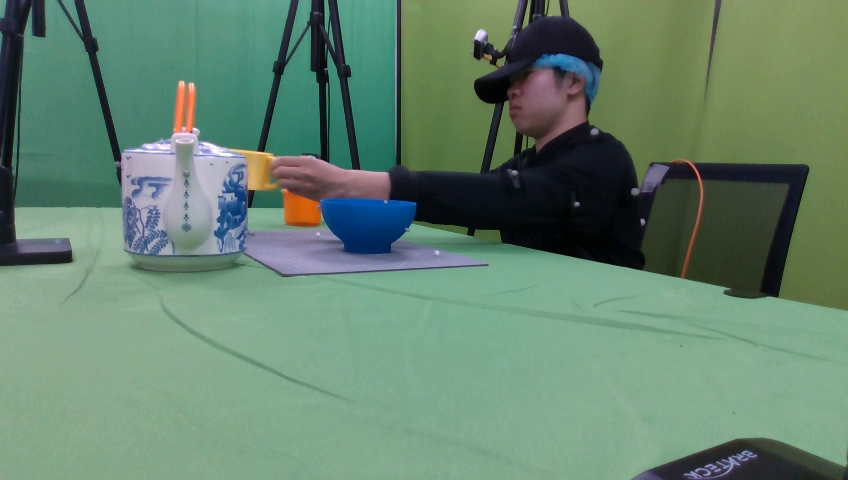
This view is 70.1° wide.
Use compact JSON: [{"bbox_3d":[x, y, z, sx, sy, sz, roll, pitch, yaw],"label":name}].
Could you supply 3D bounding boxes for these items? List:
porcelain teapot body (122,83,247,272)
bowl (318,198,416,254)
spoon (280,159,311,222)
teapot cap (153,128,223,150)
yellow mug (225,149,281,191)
[{"bbox_3d":[-0.286,-0.075,0.733,0.146,0.225,0.204,0,8,-24],"label":"porcelain teapot body"},{"bbox_3d":[-0.089,-0.022,0.941,0.151,0.077,0.151,2,7,0],"label":"bowl"},{"bbox_3d":[-0.285,-0.111,1.320,0.042,0.193,0.021,-3,-35,-31],"label":"spoon"},{"bbox_3d":[-0.294,-0.117,0.754,0.085,0.044,0.085,5,9,0],"label":"teapot cap"},{"bbox_3d":[-0.313,-0.123,1.070,0.130,0.064,0.100,8,8,13],"label":"yellow mug"}]
